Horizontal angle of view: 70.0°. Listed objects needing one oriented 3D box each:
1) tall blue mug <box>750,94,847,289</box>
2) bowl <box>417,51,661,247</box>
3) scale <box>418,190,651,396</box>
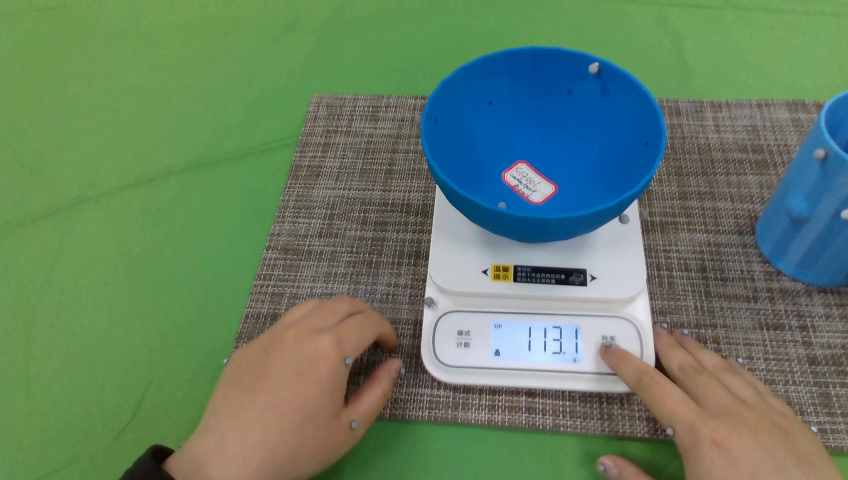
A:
[{"bbox_3d":[0.281,-0.020,0.385,0.106,0.109,0.077,37,64,27],"label":"tall blue mug"},{"bbox_3d":[0.072,-0.048,0.405,0.151,0.077,0.150,-2,54,3],"label":"bowl"},{"bbox_3d":[0.076,0.009,0.430,0.148,0.032,0.199,2,55,6],"label":"scale"}]
